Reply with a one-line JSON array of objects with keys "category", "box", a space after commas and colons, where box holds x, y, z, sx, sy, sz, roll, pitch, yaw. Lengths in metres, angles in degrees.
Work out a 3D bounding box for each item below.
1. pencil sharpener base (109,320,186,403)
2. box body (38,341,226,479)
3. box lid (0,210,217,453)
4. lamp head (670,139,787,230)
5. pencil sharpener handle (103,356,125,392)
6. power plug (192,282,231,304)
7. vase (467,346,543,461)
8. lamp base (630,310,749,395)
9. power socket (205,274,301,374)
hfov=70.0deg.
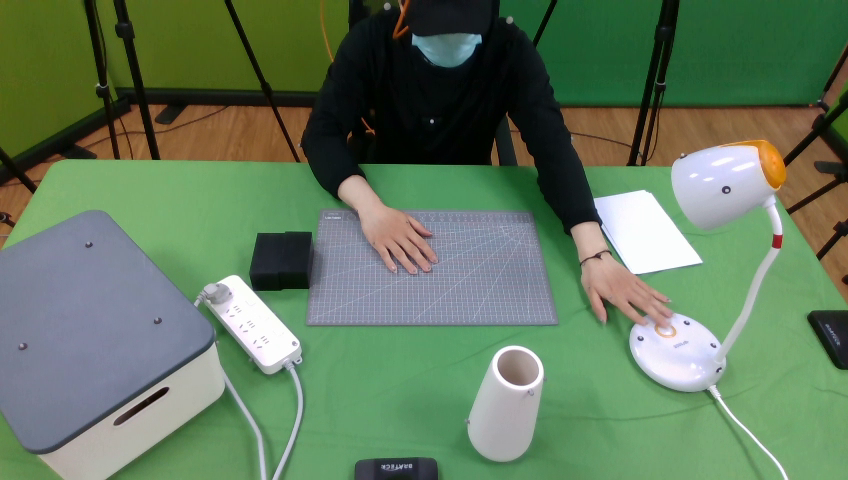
[{"category": "pencil sharpener base", "box": [-0.419, 0.187, 0.919, 0.077, 0.107, 0.061, -30, 54, -27]}, {"category": "box body", "box": [-0.504, 0.154, 0.917, 0.362, 0.161, 0.254, 36, 54, 27]}, {"category": "box lid", "box": [-0.502, 0.102, 0.865, 0.369, 0.015, 0.263, 36, 54, 27]}, {"category": "lamp head", "box": [0.415, -0.078, 0.812, 0.113, 0.123, 0.112, 13, 70, -37]}, {"category": "pencil sharpener handle", "box": [-0.460, 0.200, 0.887, 0.030, 0.068, 0.036, -30, 61, -27]}, {"category": "power plug", "box": [-0.368, 0.098, 1.039, 0.072, 0.053, 0.035, -26, 55, -20]}, {"category": "vase", "box": [0.116, 0.234, 0.861, 0.098, 0.201, 0.097, 1, 47, -1]}, {"category": "lamp base", "box": [0.447, 0.143, 0.984, 0.161, 0.181, 0.178, -24, 55, -24]}, {"category": "power socket", "box": [-0.296, 0.140, 1.035, 0.072, 0.033, 0.225, -32, 57, -29]}]
